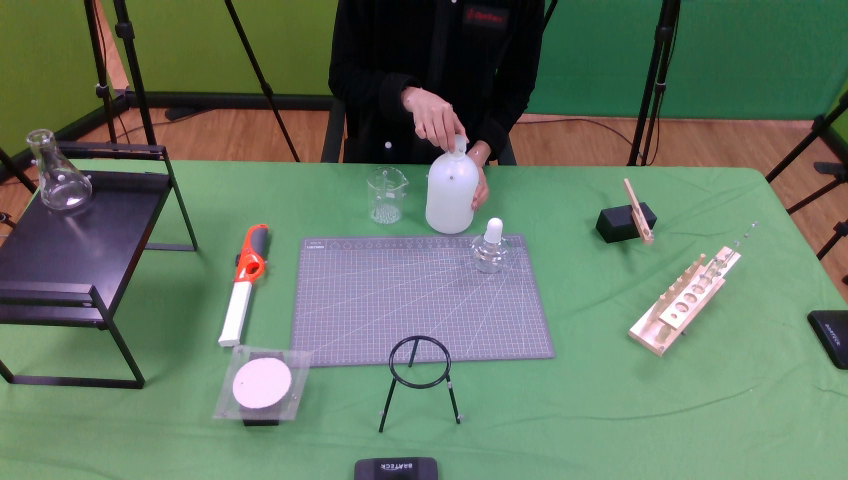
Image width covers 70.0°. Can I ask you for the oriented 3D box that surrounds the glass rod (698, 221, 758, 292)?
[{"bbox_3d":[0.527,0.035,1.060,0.008,0.200,0.008,5,49,-6],"label":"glass rod"}]

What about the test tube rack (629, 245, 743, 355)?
[{"bbox_3d":[0.474,0.095,1.091,0.242,0.085,0.066,-34,56,-31],"label":"test tube rack"}]

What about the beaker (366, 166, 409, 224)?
[{"bbox_3d":[-0.074,-0.088,1.222,0.084,0.101,0.073,4,46,-1],"label":"beaker"}]

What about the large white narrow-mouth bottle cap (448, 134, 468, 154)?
[{"bbox_3d":[0.063,-0.177,1.116,0.038,0.024,0.037,2,46,-2],"label":"large white narrow-mouth bottle cap"}]

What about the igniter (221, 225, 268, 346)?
[{"bbox_3d":[-0.323,0.072,1.100,0.057,0.025,0.274,-6,45,5],"label":"igniter"}]

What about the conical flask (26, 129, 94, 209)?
[{"bbox_3d":[-0.575,-0.113,0.946,0.075,0.122,0.075,2,46,-2],"label":"conical flask"}]

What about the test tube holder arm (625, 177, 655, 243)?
[{"bbox_3d":[0.433,-0.062,1.220,0.013,0.015,0.177,1,47,-3],"label":"test tube holder arm"}]

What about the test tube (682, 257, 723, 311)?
[{"bbox_3d":[0.475,0.080,1.037,0.017,0.151,0.017,1,51,-1],"label":"test tube"}]

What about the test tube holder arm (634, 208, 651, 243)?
[{"bbox_3d":[0.428,-0.030,1.189,0.010,0.015,0.087,1,47,-2],"label":"test tube holder arm"}]

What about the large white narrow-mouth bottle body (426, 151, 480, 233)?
[{"bbox_3d":[0.058,-0.111,1.187,0.102,0.195,0.101,2,46,-2],"label":"large white narrow-mouth bottle body"}]

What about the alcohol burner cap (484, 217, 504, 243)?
[{"bbox_3d":[0.130,-0.021,1.107,0.034,0.048,0.033,4,41,-3],"label":"alcohol burner cap"}]

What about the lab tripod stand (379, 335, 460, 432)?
[{"bbox_3d":[-0.011,0.214,0.911,0.148,0.132,0.147,1,45,0],"label":"lab tripod stand"}]

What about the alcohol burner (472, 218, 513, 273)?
[{"bbox_3d":[0.128,0.005,1.132,0.078,0.120,0.077,0,47,0],"label":"alcohol burner"}]

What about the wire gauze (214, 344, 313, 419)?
[{"bbox_3d":[-0.241,0.213,0.915,0.121,0.011,0.124,5,46,1],"label":"wire gauze"}]
